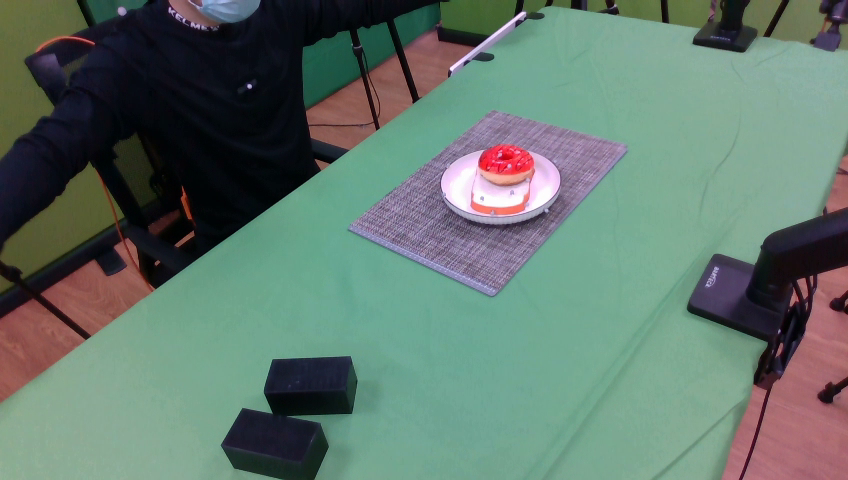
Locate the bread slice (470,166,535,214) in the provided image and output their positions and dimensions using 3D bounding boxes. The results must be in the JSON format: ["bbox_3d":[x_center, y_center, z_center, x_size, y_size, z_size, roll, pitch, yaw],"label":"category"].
[{"bbox_3d":[0.134,-0.089,1.039,0.104,0.019,0.131,4,40,13],"label":"bread slice"}]

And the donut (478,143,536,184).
[{"bbox_3d":[0.142,-0.132,1.040,0.099,0.048,0.098,-3,37,3],"label":"donut"}]

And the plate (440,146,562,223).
[{"bbox_3d":[0.131,-0.093,1.040,0.207,0.039,0.206,-4,41,4],"label":"plate"}]
